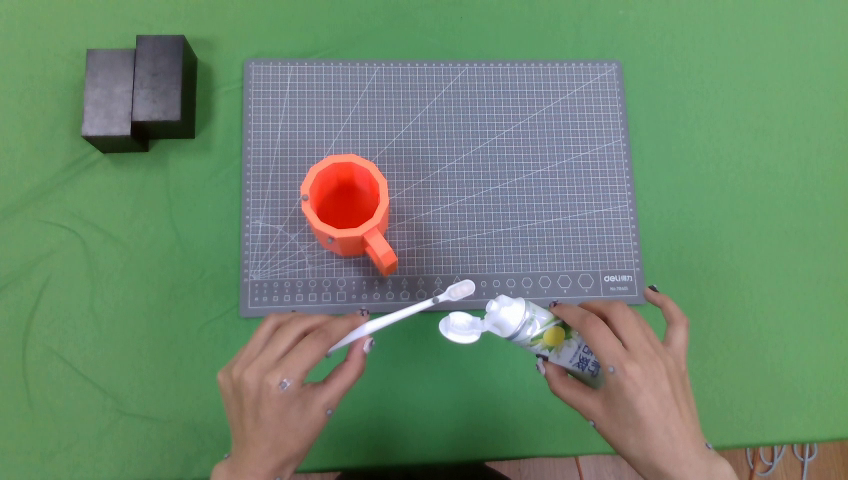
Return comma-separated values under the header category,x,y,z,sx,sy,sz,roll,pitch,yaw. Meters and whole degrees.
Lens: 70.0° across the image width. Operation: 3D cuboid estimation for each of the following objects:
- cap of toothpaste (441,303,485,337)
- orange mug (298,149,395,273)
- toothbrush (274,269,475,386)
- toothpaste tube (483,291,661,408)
category,x,y,z,sx,sy,sz,roll,pitch,yaw
cap of toothpaste,0.031,0.063,0.482,0.037,0.011,0.037,7,34,-4
orange mug,-0.072,-0.024,0.630,0.083,0.101,0.125,-36,79,-10
toothbrush,-0.042,0.071,0.485,0.182,0.014,0.016,-29,71,4
toothpaste tube,0.118,0.086,0.494,0.166,0.034,0.055,27,99,-14
